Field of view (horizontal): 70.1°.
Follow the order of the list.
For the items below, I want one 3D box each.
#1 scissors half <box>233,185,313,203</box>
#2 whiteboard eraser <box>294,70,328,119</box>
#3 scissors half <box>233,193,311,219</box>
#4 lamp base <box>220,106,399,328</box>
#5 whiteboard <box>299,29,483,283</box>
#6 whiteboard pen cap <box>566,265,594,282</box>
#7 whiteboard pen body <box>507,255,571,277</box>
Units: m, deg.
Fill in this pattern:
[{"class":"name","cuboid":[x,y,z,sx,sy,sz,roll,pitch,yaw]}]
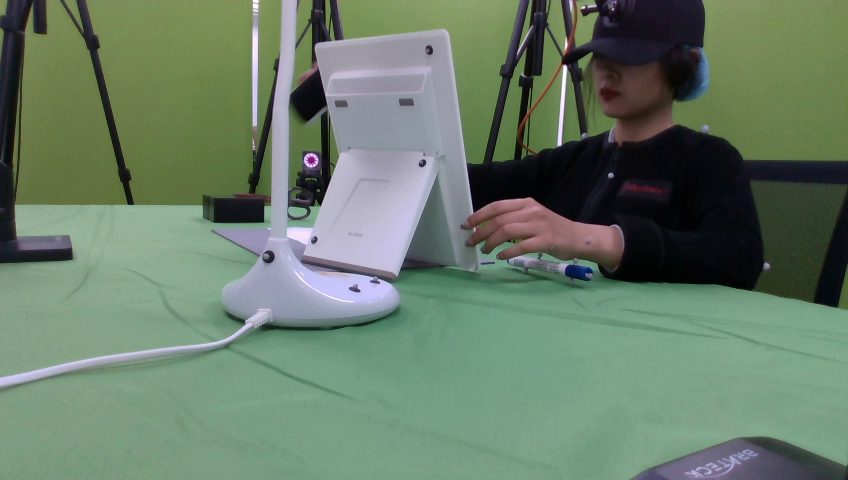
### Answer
[{"class":"scissors half","cuboid":[-0.326,-0.097,1.315,0.176,0.040,0.012,-5,19,-29]},{"class":"whiteboard eraser","cuboid":[-0.150,-0.239,0.938,0.112,0.055,0.042,-31,-3,26]},{"class":"scissors half","cuboid":[-0.330,-0.078,1.320,0.176,0.040,0.013,16,3,-32]},{"class":"lamp base","cuboid":[-0.102,-0.023,0.531,0.160,0.180,0.179,4,10,10]},{"class":"whiteboard","cuboid":[-0.074,-0.082,0.742,0.216,0.305,0.144,9,29,38]},{"class":"whiteboard pen cap","cuboid":[0.185,0.040,0.722,0.018,0.018,0.033,-3,7,-33]},{"class":"whiteboard pen body","cuboid":[0.156,0.034,0.773,0.017,0.017,0.140,-2,7,-32]}]
